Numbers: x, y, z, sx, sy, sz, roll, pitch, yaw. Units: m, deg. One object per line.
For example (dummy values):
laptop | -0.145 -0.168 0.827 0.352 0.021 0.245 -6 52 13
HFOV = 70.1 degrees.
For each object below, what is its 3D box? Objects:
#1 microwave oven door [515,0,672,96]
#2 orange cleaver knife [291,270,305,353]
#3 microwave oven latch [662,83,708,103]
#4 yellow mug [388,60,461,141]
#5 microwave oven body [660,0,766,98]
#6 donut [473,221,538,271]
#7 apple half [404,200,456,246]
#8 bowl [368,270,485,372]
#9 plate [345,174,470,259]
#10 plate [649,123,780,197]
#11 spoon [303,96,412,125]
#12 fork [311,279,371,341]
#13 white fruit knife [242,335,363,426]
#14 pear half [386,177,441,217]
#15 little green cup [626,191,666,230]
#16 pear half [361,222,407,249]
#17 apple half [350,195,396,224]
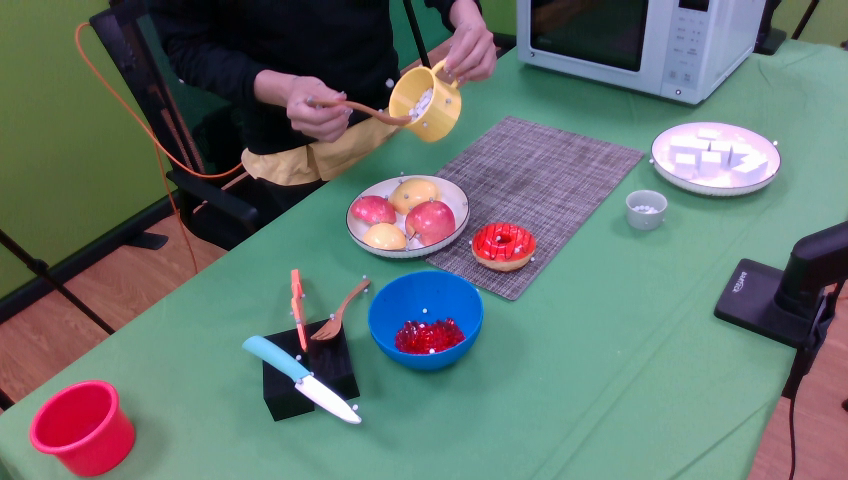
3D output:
microwave oven door | 0.343 -0.455 1.259 0.353 0.245 0.039 26 51 33
orange cleaver knife | -0.175 0.094 0.844 0.012 0.077 0.210 -11 14 -10
microwave oven latch | 0.517 -0.297 1.204 0.078 0.029 0.030 28 52 35
yellow mug | 0.010 -0.227 0.956 0.130 0.064 0.099 -52 49 15
microwave oven body | 0.472 -0.513 1.317 0.438 0.261 0.327 26 51 34
donut | 0.123 0.008 0.923 0.099 0.048 0.098 -3 38 3
apple half | 0.009 -0.035 0.969 0.075 0.053 0.080 -27 40 -22
bowl | 0.007 0.118 0.791 0.151 0.077 0.150 -5 40 4
plate | -0.026 -0.037 1.004 0.209 0.038 0.208 -4 40 4
plate | 0.497 -0.135 1.046 0.207 0.039 0.206 -4 40 4
spoon | -0.092 -0.190 0.876 0.195 0.021 0.041 5 6 -45
fork | -0.108 0.092 0.832 0.028 0.019 0.207 -6 19 15
white fruit knife | -0.148 0.167 0.730 0.206 0.016 0.027 26 80 31
pear half | -0.030 -0.079 1.033 0.109 0.056 0.076 -1 36 16
little green cup | 0.352 -0.046 0.963 0.061 0.039 0.061 -4 40 4
pear half | -0.063 -0.012 0.958 0.071 0.031 0.087 2 24 -25
apple half | -0.081 -0.056 1.008 0.081 0.033 0.081 11 24 -4
